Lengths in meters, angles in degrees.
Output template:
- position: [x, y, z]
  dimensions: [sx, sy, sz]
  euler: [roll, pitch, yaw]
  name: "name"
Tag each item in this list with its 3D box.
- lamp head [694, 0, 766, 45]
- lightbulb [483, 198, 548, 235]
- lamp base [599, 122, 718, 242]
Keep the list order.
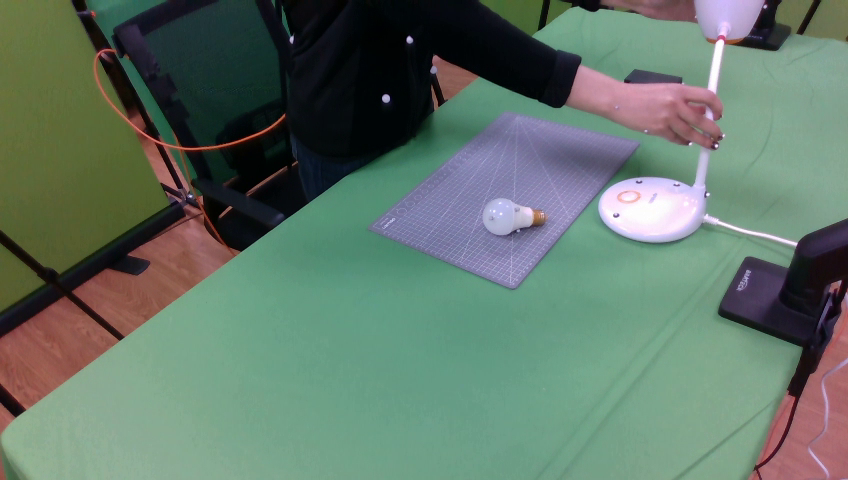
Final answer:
- position: [0.467, -0.362, 0.924]
  dimensions: [0.112, 0.123, 0.112]
  euler: [-7, 32, 5]
  name: "lamp head"
- position: [0.148, -0.037, 0.973]
  dimensions: [0.108, 0.059, 0.059]
  euler: [1, 39, -12]
  name: "lightbulb"
- position: [0.367, -0.108, 0.919]
  dimensions: [0.178, 0.181, 0.160]
  euler: [12, 44, 20]
  name: "lamp base"
